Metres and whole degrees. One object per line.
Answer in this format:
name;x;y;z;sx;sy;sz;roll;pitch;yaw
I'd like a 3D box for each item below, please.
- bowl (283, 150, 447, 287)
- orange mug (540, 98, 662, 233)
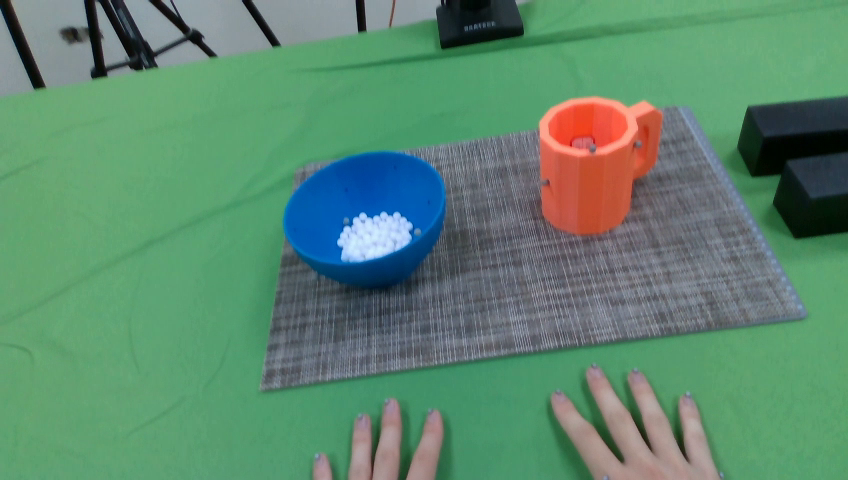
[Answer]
bowl;-0.048;-0.008;0.573;0.151;0.077;0.150;-6;45;7
orange mug;0.170;-0.078;0.578;0.126;0.102;0.082;-28;47;-9
